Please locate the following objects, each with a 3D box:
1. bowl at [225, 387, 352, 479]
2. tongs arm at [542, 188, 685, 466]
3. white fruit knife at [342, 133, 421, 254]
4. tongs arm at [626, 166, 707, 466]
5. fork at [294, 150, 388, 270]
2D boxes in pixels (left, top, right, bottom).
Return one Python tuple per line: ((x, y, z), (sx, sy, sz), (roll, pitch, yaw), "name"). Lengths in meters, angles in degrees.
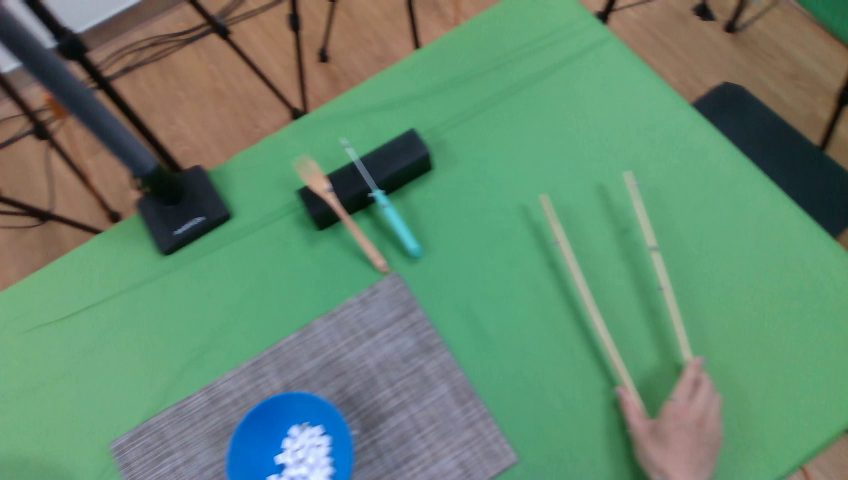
((-0.154, 0.261, 0.737), (0.151, 0.077, 0.150), (-2, 66, 5), "bowl")
((0.230, 0.100, 0.776), (0.028, 0.028, 0.384), (-19, 70, -3), "tongs arm")
((-0.064, -0.068, 0.869), (0.016, 0.027, 0.207), (-33, 84, -2), "white fruit knife")
((0.294, 0.083, 0.772), (0.051, 0.027, 0.382), (-12, 70, 3), "tongs arm")
((-0.116, -0.041, 0.864), (0.028, 0.018, 0.207), (-37, 88, -15), "fork")
